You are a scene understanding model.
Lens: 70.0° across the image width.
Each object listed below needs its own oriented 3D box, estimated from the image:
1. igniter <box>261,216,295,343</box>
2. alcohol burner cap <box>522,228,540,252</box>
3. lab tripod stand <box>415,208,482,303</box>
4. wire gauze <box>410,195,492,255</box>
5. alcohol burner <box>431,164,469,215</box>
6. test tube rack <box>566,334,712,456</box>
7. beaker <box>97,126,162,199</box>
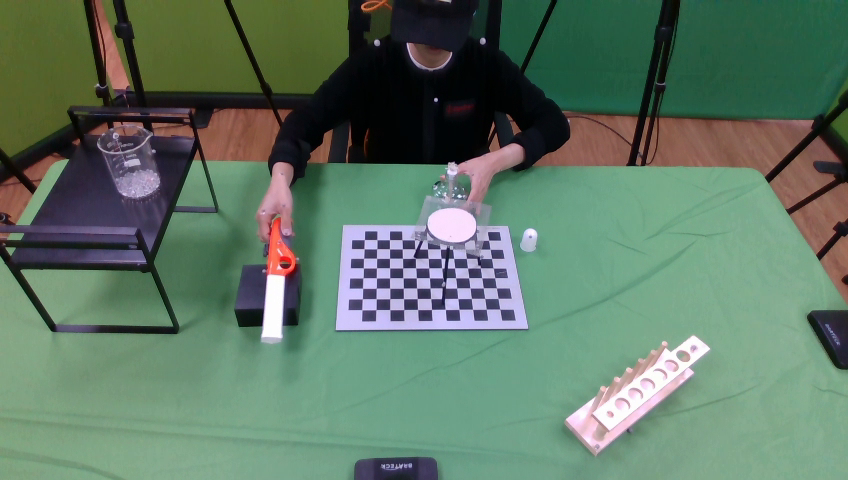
[{"bbox_3d":[-0.255,0.058,1.051,0.057,0.025,0.274,8,45,-16],"label":"igniter"},{"bbox_3d":[0.214,-0.003,1.198,0.034,0.048,0.033,1,46,-1],"label":"alcohol burner cap"},{"bbox_3d":[0.043,0.018,1.097,0.148,0.132,0.147,0,46,0],"label":"lab tripod stand"},{"bbox_3d":[0.049,-0.031,1.051,0.125,0.011,0.121,12,47,9],"label":"wire gauze"},{"bbox_3d":[0.055,-0.108,1.240,0.078,0.119,0.077,3,46,-3],"label":"alcohol burner"},{"bbox_3d":[0.338,0.228,0.950,0.242,0.085,0.066,-27,52,-26],"label":"test tube rack"},{"bbox_3d":[-0.468,-0.124,0.979,0.084,0.101,0.073,-25,53,-26],"label":"beaker"}]
